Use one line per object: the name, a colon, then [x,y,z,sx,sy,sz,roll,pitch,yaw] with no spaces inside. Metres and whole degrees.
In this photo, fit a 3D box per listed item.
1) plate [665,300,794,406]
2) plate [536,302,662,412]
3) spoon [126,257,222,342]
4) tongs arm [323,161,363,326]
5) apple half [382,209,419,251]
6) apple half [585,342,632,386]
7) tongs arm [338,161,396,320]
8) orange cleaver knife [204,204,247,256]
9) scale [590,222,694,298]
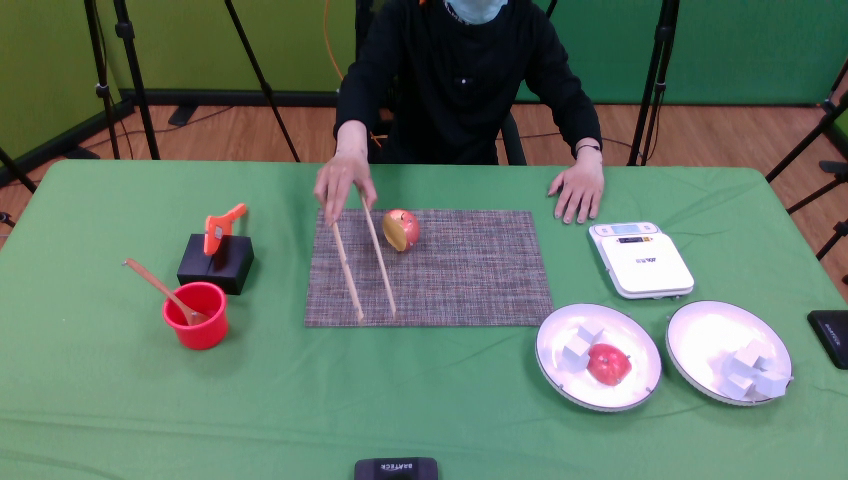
plate: [0.513,0.194,1.034,0.208,0.039,0.206,2,46,-2]
plate: [0.288,0.196,1.016,0.209,0.038,0.208,2,46,-2]
spoon: [-0.408,0.096,0.990,0.194,0.021,0.041,50,54,-19]
tongs arm: [-0.134,-0.010,1.062,0.051,0.026,0.382,-11,48,-15]
apple half: [-0.039,-0.022,1.175,0.053,0.075,0.080,-27,49,-31]
apple half: [0.309,0.198,1.008,0.081,0.033,0.081,4,48,-4]
tongs arm: [-0.103,-0.014,1.070,0.028,0.028,0.384,-12,48,-11]
orange cleaver knife: [-0.374,-0.024,1.146,0.012,0.077,0.211,4,14,1]
scale: [0.424,0.031,1.189,0.149,0.032,0.199,-3,46,-7]
